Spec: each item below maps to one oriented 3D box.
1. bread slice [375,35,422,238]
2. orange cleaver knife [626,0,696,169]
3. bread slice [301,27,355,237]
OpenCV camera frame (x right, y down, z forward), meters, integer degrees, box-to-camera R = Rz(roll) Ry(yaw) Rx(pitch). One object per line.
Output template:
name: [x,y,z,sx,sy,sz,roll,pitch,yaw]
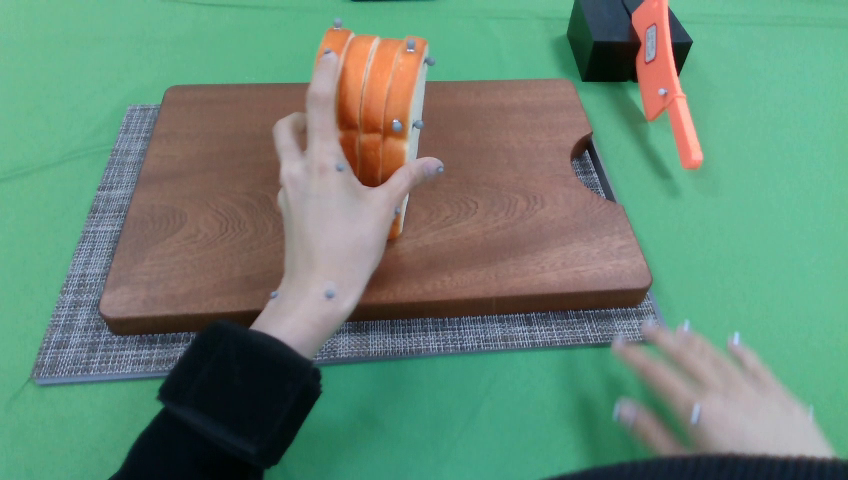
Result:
bread slice: [-0.019,-0.079,0.450,0.019,0.132,0.104,9,49,0]
orange cleaver knife: [0.230,-0.155,0.601,0.012,0.077,0.209,0,68,-7]
bread slice: [-0.069,-0.086,0.453,0.018,0.135,0.106,6,44,1]
